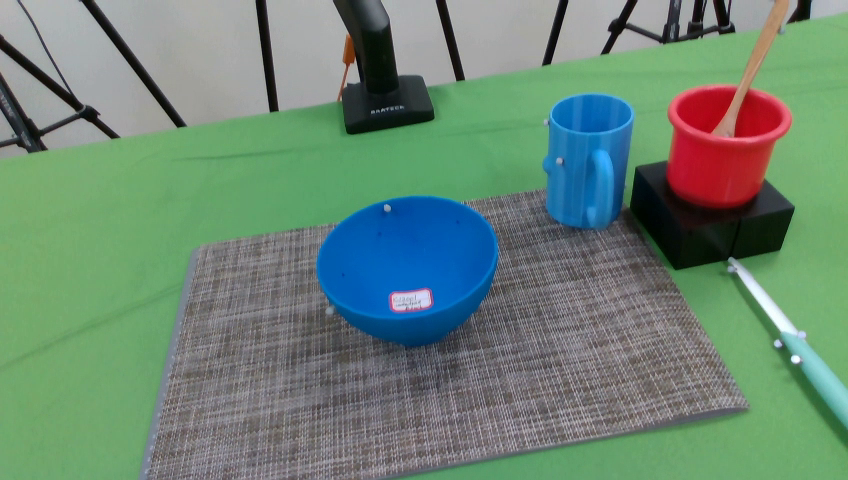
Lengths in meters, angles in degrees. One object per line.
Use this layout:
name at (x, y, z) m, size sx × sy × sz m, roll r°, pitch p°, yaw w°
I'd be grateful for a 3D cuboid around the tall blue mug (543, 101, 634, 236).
tall blue mug at (0.168, -0.063, 0.588) m, size 0.078 × 0.109 × 0.106 m, roll -23°, pitch 42°, yaw -18°

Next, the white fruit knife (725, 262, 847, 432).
white fruit knife at (0.292, 0.084, 0.476) m, size 0.027 × 0.016 × 0.205 m, roll 12°, pitch 34°, yaw -19°

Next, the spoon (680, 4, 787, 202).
spoon at (0.282, -0.123, 0.541) m, size 0.041 × 0.022 × 0.194 m, roll 25°, pitch 94°, yaw 36°

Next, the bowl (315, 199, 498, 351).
bowl at (-0.011, 0.042, 0.518) m, size 0.151 × 0.077 × 0.150 m, roll -5°, pitch 40°, yaw 4°
